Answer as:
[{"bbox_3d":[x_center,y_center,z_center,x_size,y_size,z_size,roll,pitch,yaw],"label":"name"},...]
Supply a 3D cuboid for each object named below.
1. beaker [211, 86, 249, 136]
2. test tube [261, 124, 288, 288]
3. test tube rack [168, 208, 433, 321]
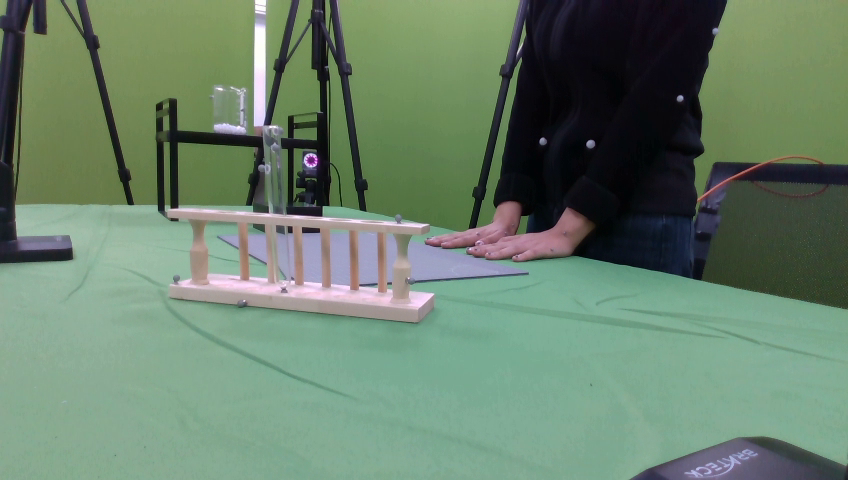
[{"bbox_3d":[-0.413,-0.274,1.298,0.074,0.100,0.083,-5,11,-44],"label":"beaker"},{"bbox_3d":[-0.137,-0.030,0.555,0.017,0.150,0.017,-2,9,1],"label":"test tube"},{"bbox_3d":[-0.115,0.017,0.574,0.242,0.085,0.067,4,8,13],"label":"test tube rack"}]
